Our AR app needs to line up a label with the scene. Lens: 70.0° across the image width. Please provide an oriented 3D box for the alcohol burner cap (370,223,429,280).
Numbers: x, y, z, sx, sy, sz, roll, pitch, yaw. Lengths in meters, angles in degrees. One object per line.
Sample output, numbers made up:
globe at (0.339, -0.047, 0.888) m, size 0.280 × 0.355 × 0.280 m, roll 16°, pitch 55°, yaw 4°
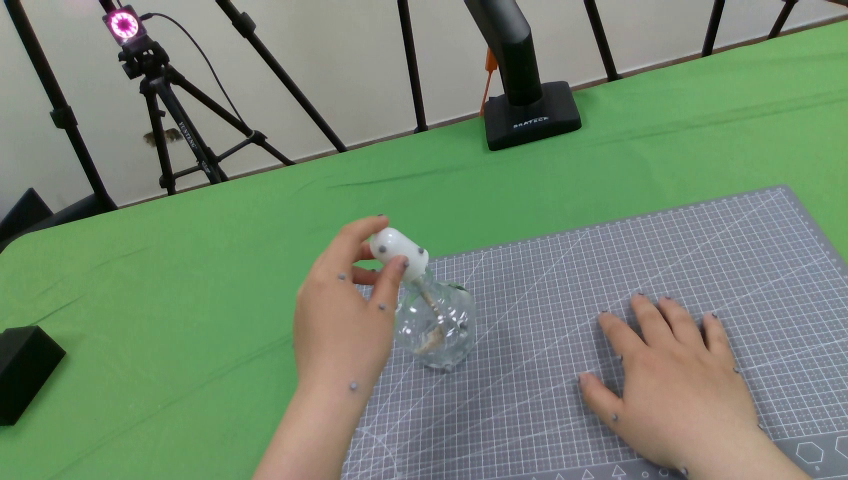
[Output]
alcohol burner cap at (-0.021, 0.006, 0.476) m, size 0.034 × 0.048 × 0.033 m, roll -27°, pitch 41°, yaw 26°

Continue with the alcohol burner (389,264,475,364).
alcohol burner at (0.003, 0.051, 0.519) m, size 0.078 × 0.120 × 0.077 m, roll -11°, pitch 40°, yaw 10°
